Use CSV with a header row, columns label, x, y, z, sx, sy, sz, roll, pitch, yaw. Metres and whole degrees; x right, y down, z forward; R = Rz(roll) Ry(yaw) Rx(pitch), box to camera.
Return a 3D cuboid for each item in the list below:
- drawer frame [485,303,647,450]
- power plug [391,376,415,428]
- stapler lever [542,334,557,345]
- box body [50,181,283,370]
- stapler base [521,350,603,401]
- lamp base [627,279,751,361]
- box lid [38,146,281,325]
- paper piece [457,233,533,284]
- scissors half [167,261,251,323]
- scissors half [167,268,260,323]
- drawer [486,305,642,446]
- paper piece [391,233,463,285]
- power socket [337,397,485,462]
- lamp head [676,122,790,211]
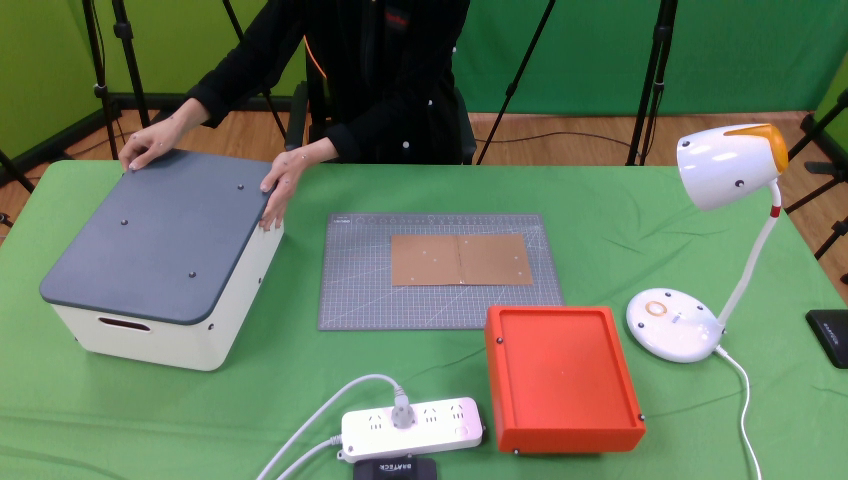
label,x,y,z,sx,sy,sz,roll,pitch,yaw
drawer frame,0.204,0.202,0.917,0.202,0.083,0.212,1,47,-4
power plug,-0.031,0.249,0.917,0.035,0.053,0.072,3,46,-1
stapler lever,0.225,0.181,0.928,0.118,0.040,0.027,27,34,15
box body,-0.414,0.026,1.042,0.254,0.161,0.362,8,46,4
stapler base,0.217,0.203,0.942,0.130,0.024,0.041,26,33,16
lamp base,0.460,0.100,1.027,0.178,0.181,0.160,27,51,17
box lid,-0.409,-0.027,0.989,0.263,0.015,0.369,9,46,4
paper piece,0.136,0.035,1.182,0.136,0.009,0.137,2,45,-6
scissors half,-0.383,0.091,1.081,0.040,0.013,0.175,23,51,33
scissors half,-0.369,0.100,1.069,0.175,0.013,0.040,-29,49,-21
drawer,0.202,0.200,0.918,0.195,0.073,0.210,2,47,-4
paper piece,0.004,0.035,1.170,0.135,0.004,0.135,2,46,-4
power socket,-0.018,0.285,0.915,0.227,0.033,0.071,-4,46,-8
lamp head,0.423,-0.104,0.819,0.122,0.113,0.112,-13,33,40
